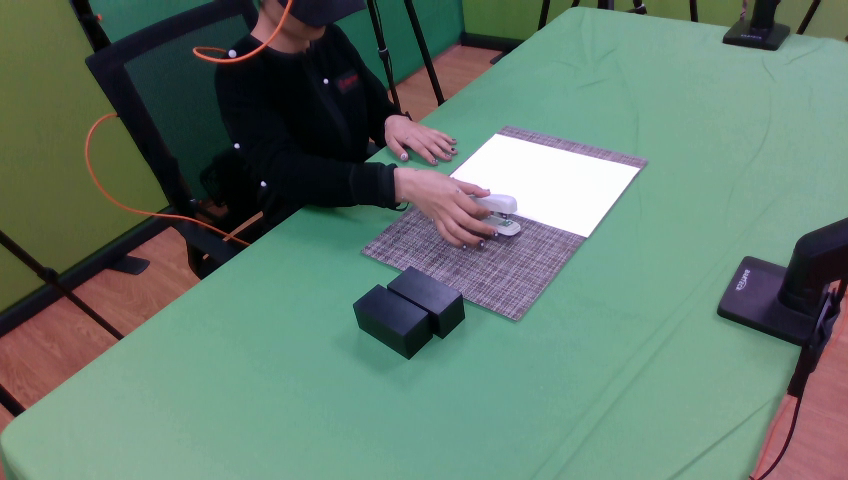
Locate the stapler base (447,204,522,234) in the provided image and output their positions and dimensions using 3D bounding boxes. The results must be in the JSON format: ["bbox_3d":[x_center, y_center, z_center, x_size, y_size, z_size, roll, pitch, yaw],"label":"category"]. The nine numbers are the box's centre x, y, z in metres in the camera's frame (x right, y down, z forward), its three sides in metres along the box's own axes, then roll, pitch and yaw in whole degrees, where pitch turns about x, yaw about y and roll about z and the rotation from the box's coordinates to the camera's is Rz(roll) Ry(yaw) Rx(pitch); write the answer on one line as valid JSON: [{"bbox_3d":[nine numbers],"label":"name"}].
[{"bbox_3d":[0.101,-0.043,1.000,0.129,0.024,0.041,21,29,32],"label":"stapler base"}]

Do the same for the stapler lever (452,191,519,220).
[{"bbox_3d":[0.101,-0.065,0.990,0.117,0.040,0.027,21,29,32],"label":"stapler lever"}]
